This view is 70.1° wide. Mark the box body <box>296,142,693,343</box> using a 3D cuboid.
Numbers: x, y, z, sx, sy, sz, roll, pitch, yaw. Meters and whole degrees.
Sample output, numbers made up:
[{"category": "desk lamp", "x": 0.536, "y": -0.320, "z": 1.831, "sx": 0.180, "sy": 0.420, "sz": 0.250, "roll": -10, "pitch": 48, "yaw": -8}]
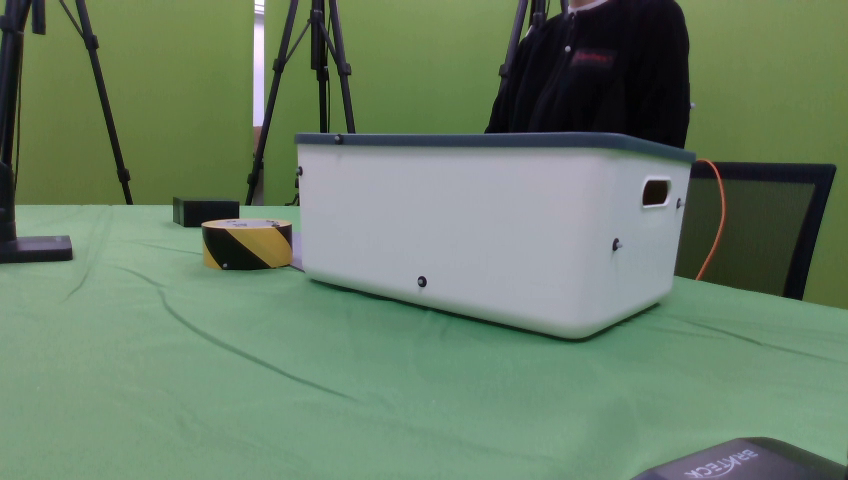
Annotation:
[{"category": "box body", "x": 0.065, "y": -0.020, "z": 0.653, "sx": 0.362, "sy": 0.160, "sz": 0.255, "roll": 9, "pitch": 9, "yaw": 37}]

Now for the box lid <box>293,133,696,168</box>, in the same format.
[{"category": "box lid", "x": 0.068, "y": -0.094, "z": 0.645, "sx": 0.369, "sy": 0.015, "sz": 0.265, "roll": 9, "pitch": 8, "yaw": 37}]

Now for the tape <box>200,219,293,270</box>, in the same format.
[{"category": "tape", "x": -0.228, "y": 0.004, "z": 0.778, "sx": 0.117, "sy": 0.052, "sz": 0.117, "roll": 1, "pitch": 8, "yaw": 0}]
